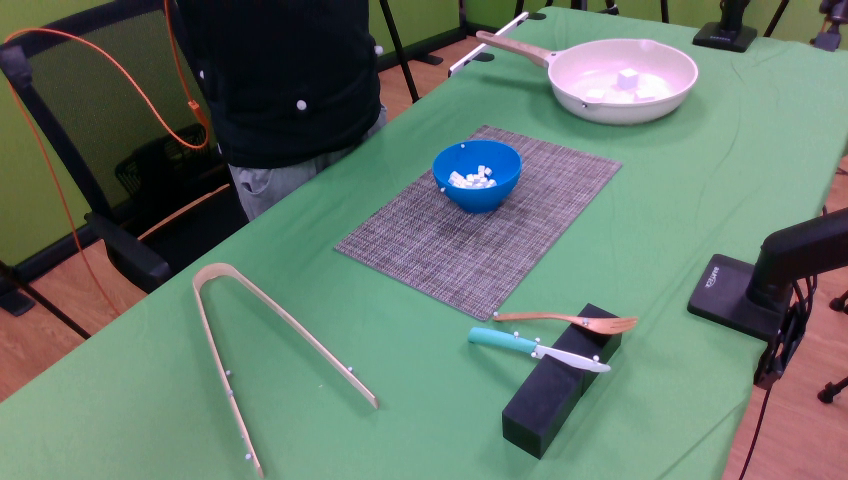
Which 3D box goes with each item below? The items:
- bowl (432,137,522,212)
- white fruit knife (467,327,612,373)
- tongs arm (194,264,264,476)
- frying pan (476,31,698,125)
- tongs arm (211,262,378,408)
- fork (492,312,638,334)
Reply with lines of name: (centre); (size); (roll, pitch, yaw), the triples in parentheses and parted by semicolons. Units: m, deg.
bowl: (0.091, -0.100, 1.022); (0.151, 0.077, 0.150); (-4, 41, 4)
white fruit knife: (0.134, 0.134, 0.742); (0.205, 0.027, 0.016); (7, 34, 41)
tongs arm: (-0.259, 0.153, 0.816); (0.051, 0.026, 0.381); (-24, 42, -20)
frying pan: (0.320, -0.371, 1.290); (0.484, 0.103, 0.307); (29, 51, 24)
tongs arm: (-0.192, 0.121, 0.850); (0.028, 0.028, 0.384); (-37, 48, -27)
fork: (0.173, 0.103, 0.774); (0.206, 0.019, 0.028); (0, 40, 40)
